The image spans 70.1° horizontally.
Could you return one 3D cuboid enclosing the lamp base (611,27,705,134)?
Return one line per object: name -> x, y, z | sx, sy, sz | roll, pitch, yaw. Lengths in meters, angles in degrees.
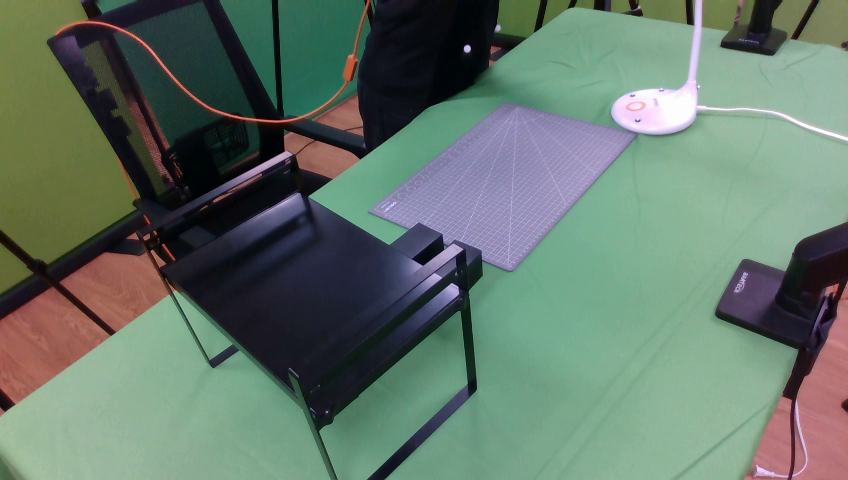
lamp base -> 0.459, -0.316, 1.154 | 0.179, 0.181, 0.159 | -5, 41, -1
